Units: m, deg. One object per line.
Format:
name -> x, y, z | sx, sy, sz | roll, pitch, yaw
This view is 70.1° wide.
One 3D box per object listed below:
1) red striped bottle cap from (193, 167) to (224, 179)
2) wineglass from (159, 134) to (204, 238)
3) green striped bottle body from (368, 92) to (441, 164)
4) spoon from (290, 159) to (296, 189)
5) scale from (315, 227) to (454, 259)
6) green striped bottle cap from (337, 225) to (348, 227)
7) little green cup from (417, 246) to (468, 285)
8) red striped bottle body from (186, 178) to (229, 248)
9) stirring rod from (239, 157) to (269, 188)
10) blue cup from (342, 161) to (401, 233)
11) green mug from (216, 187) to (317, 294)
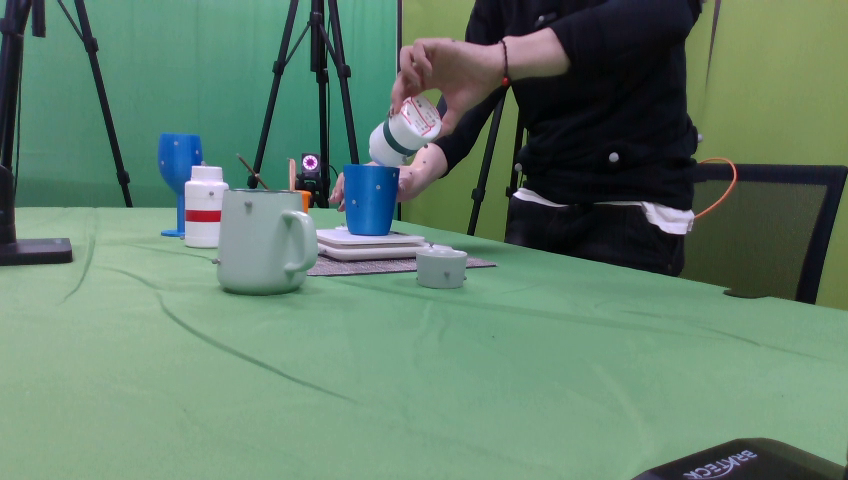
red striped bottle cap -> -0.329, -0.103, 0.921 | 0.044, 0.017, 0.044 | -1, 9, 0
wineglass -> -0.415, -0.093, 1.040 | 0.074, 0.172, 0.073 | 2, 7, 0
green striped bottle body -> -0.033, -0.148, 0.833 | 0.063, 0.063, 0.119 | -3, -16, -35
spoon -> -0.273, -0.102, 1.252 | 0.042, 0.193, 0.021 | 7, -39, -17
scale -> -0.066, 0.001, 0.906 | 0.202, 0.031, 0.148 | -2, 8, -31
green striped bottle cap -> -0.137, -0.015, 1.092 | 0.044, 0.020, 0.044 | 0, 9, 0
little green cup -> 0.021, 0.029, 0.701 | 0.061, 0.038, 0.061 | 0, 6, 0
red striped bottle body -> -0.331, -0.050, 0.927 | 0.063, 0.119, 0.063 | 2, 7, 0
stirring rod -> -0.309, -0.098, 1.209 | 0.006, 0.177, 0.014 | -38, 29, -2
blue cup -> -0.078, -0.062, 0.884 | 0.093, 0.100, 0.092 | 3, 3, 0
green mug -> -0.157, 0.000, 0.629 | 0.124, 0.105, 0.093 | 7, 9, 37
